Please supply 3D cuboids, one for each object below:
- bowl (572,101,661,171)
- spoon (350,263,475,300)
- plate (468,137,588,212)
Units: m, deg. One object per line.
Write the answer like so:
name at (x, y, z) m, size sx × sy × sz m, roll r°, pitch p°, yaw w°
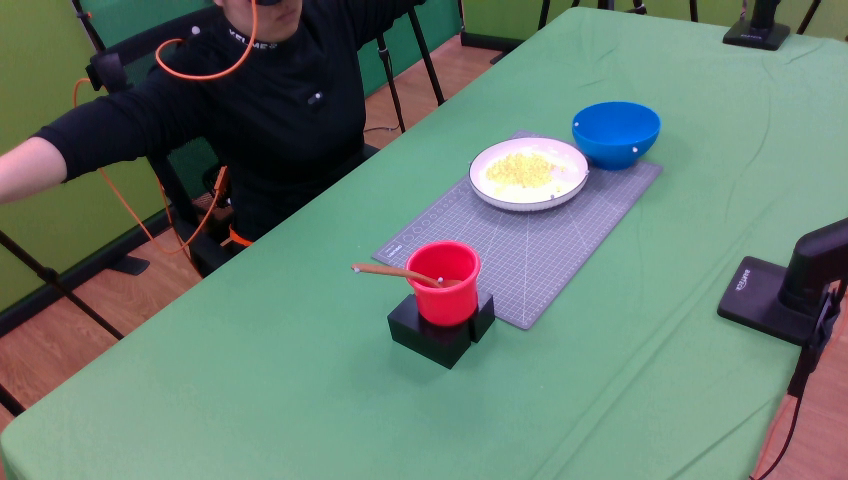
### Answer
bowl at (0.339, -0.177, 1.079) m, size 0.151 × 0.077 × 0.150 m, roll -5°, pitch 40°, yaw 5°
spoon at (-0.010, 0.048, 0.754) m, size 0.195 × 0.021 × 0.041 m, roll 19°, pitch 26°, yaw -39°
plate at (0.181, -0.112, 1.064) m, size 0.207 × 0.039 × 0.206 m, roll -5°, pitch 40°, yaw 5°
